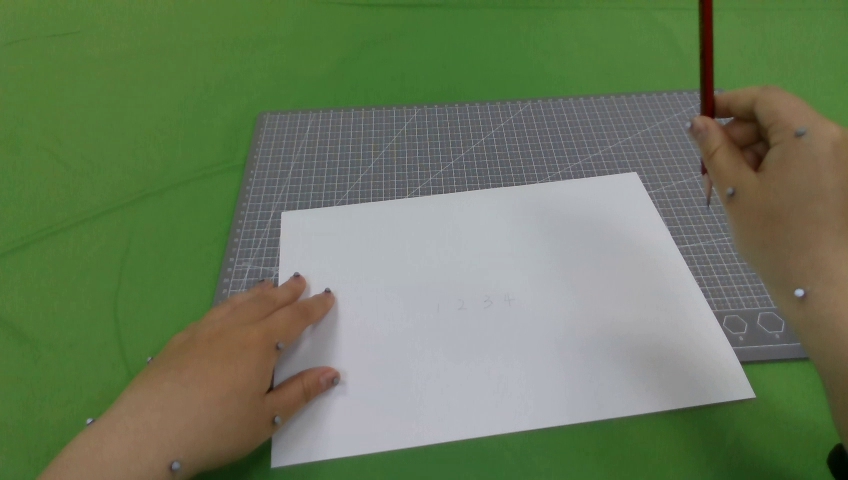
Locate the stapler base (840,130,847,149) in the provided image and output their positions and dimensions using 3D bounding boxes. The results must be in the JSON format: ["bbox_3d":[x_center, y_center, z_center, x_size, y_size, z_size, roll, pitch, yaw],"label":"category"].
[{"bbox_3d":[0.393,-0.055,0.489,0.041,0.024,0.129,-9,50,-2],"label":"stapler base"}]

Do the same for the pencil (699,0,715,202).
[{"bbox_3d":[0.159,-0.118,0.340,0.012,0.194,0.012,-5,11,1],"label":"pencil"}]
